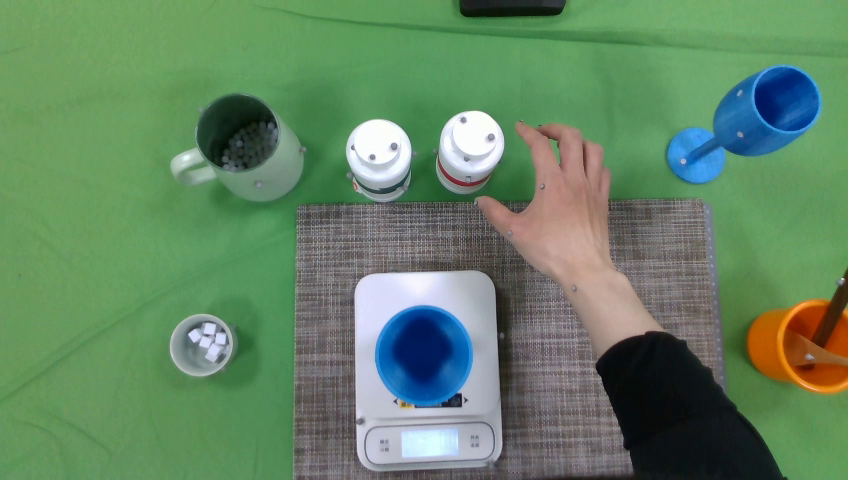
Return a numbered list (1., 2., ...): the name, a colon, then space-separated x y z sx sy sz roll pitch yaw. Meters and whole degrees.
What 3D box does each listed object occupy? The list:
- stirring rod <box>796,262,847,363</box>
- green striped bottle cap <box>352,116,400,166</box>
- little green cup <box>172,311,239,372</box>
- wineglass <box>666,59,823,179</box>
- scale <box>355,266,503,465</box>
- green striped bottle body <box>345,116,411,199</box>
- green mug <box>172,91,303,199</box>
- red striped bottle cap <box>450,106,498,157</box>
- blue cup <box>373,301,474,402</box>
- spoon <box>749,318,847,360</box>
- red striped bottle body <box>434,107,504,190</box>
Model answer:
1. stirring rod: 0.401 0.063 0.592 0.014 0.178 0.006 5 42 11
2. green striped bottle cap: -0.044 -0.091 0.557 0.044 0.020 0.044 0 82 -2
3. little green cup: -0.220 0.104 0.620 0.061 0.039 0.061 0 82 -3
4. wineglass: 0.306 -0.112 0.598 0.074 0.172 0.073 0 82 -1
5. scale: 0.005 0.128 0.625 0.149 0.031 0.200 -2 83 -2
6. green striped bottle body: -0.045 -0.084 0.609 0.063 0.119 0.063 0 82 -1
7. green mug: -0.190 -0.088 0.612 0.125 0.105 0.092 -23 84 -4
8. red striped bottle cap: 0.047 -0.101 0.561 0.044 0.018 0.044 0 85 0
9. blue cup: -0.001 0.099 0.562 0.093 0.100 0.092 0 85 -2
10. spoon: 0.420 0.114 0.586 0.022 0.192 0.041 11 91 -44
11. red striped bottle body: 0.045 -0.093 0.613 0.063 0.120 0.063 0 82 -2
